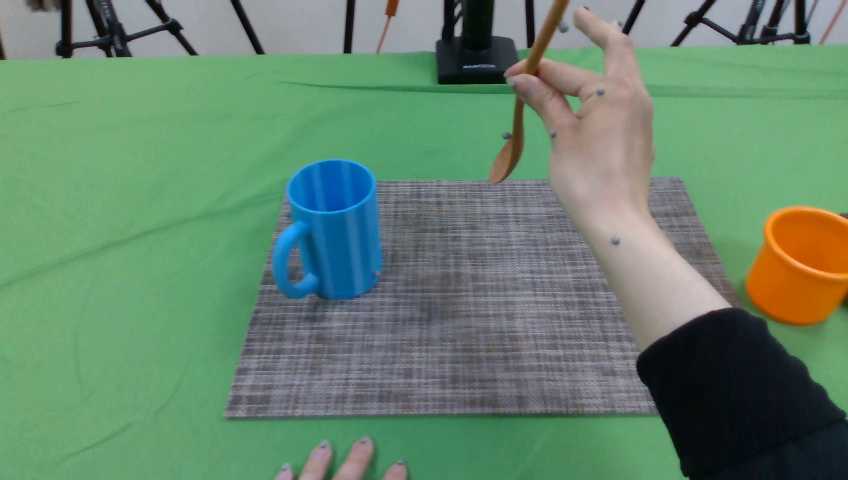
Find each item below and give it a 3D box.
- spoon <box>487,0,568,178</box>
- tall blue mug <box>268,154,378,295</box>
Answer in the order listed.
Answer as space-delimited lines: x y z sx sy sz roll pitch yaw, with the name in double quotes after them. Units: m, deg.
0.072 -0.108 0.437 0.021 0.195 0.041 13 60 2 "spoon"
-0.086 -0.002 0.544 0.078 0.109 0.106 6 45 6 "tall blue mug"
